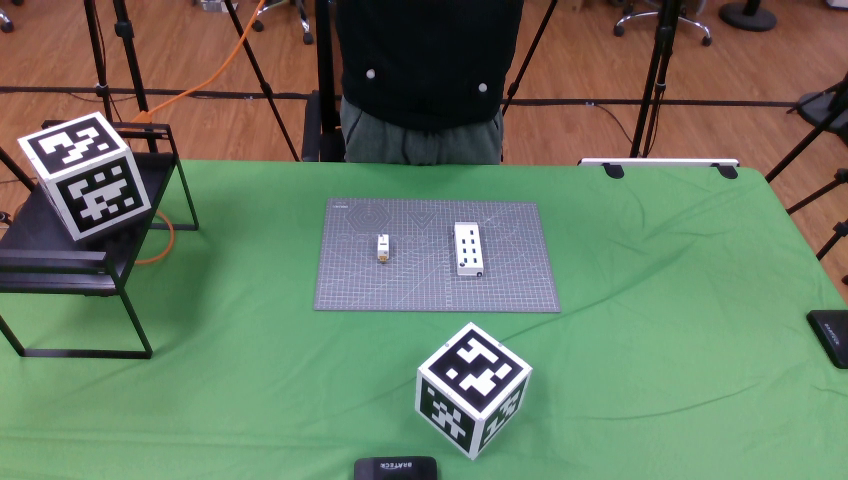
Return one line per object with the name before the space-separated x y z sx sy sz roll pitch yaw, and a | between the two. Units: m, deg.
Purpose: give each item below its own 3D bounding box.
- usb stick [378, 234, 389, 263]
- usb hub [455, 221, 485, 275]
usb stick | -0.078 0.017 1.162 0.021 0.027 0.059 3 47 -4
usb hub | 0.088 0.014 1.177 0.049 0.025 0.124 0 46 -3
